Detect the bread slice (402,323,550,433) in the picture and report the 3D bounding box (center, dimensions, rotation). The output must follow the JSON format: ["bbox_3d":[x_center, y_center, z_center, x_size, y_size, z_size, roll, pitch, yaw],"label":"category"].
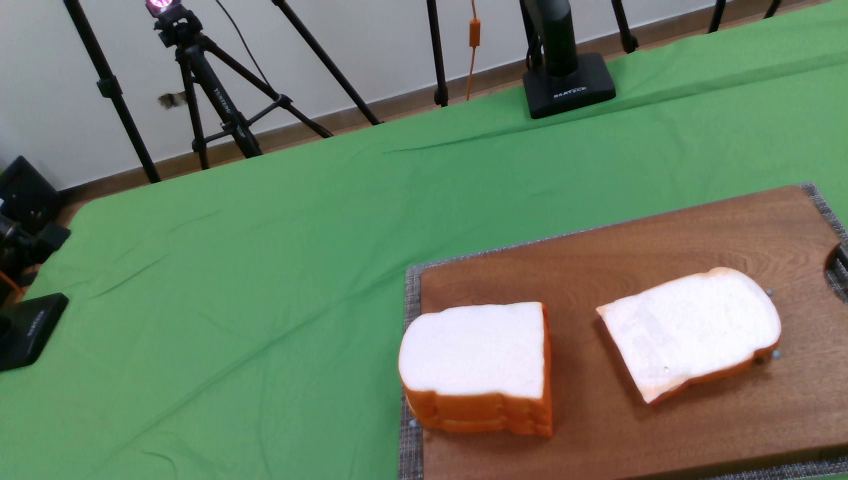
[{"bbox_3d":[0.047,0.121,0.549,0.134,0.018,0.106,-3,44,16],"label":"bread slice"}]

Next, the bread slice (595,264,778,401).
[{"bbox_3d":[0.227,0.074,0.516,0.131,0.019,0.103,-23,40,8],"label":"bread slice"}]
